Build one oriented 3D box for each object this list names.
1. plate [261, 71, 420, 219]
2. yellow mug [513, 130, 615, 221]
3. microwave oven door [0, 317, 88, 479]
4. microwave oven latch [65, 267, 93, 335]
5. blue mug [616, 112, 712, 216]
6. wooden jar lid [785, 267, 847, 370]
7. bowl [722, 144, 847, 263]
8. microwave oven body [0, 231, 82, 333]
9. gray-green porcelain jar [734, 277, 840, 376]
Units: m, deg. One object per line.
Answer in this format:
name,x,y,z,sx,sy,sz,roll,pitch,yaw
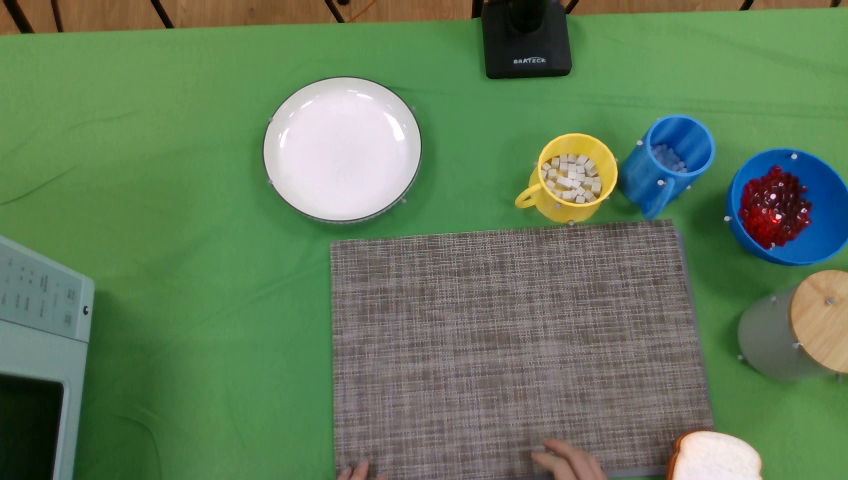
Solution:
plate,-0.108,-0.123,0.802,0.208,0.039,0.206,0,74,-1
yellow mug,0.173,-0.076,0.777,0.131,0.064,0.099,-24,75,-6
microwave oven door,-0.411,0.253,0.562,0.039,0.245,0.353,-2,73,-1
microwave oven latch,-0.417,0.072,0.721,0.030,0.029,0.078,1,74,-1
blue mug,0.295,-0.085,0.761,0.082,0.106,0.116,17,74,5
wooden jar lid,0.431,0.082,0.637,0.108,0.021,0.108,1,76,-3
bowl,0.440,-0.036,0.762,0.151,0.077,0.150,0,74,0
microwave oven body,-0.558,0.218,0.576,0.326,0.261,0.439,-2,74,-2
gray-green porcelain jar,0.431,0.101,0.697,0.106,0.127,0.105,0,73,-1
